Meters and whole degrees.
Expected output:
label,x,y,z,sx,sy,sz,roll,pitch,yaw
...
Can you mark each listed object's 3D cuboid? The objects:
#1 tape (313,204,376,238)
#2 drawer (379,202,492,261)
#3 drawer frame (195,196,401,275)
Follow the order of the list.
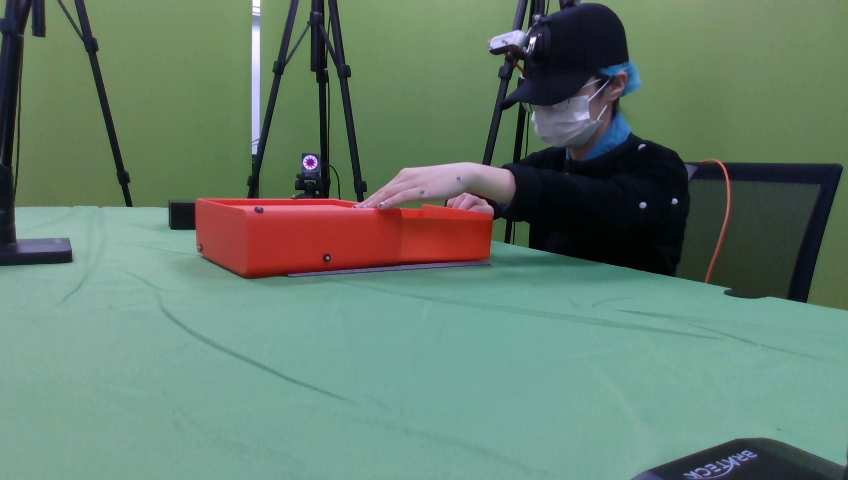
label,x,y,z,sx,sy,sz,roll,pitch,yaw
tape,-0.145,-0.036,1.117,0.117,0.052,0.117,3,8,0
drawer,-0.038,-0.017,0.912,0.213,0.073,0.193,-3,9,-33
drawer frame,-0.171,-0.015,0.817,0.215,0.082,0.200,-4,10,-36
